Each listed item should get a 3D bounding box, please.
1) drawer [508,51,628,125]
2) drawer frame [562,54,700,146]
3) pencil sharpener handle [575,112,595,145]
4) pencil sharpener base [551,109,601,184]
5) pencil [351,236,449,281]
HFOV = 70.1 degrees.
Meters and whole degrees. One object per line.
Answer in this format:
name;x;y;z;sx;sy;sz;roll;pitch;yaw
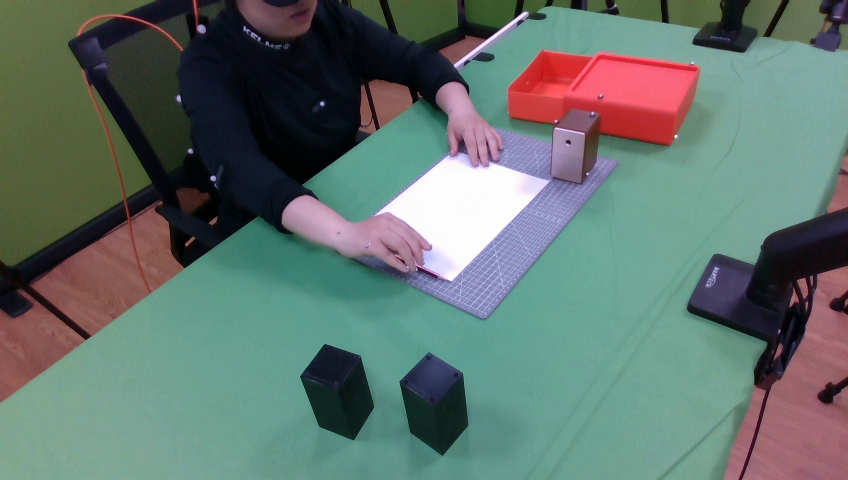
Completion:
drawer;0.304;-0.309;1.246;0.210;0.073;0.195;16;45;25
drawer frame;0.406;-0.282;1.195;0.212;0.083;0.202;17;45;25
pencil sharpener handle;0.290;-0.203;1.077;0.036;0.068;0.031;20;47;25
pencil sharpener base;0.265;-0.163;1.053;0.061;0.107;0.077;17;46;28
pencil;-0.040;0.029;0.946;0.192;0.012;0.012;22;48;29
